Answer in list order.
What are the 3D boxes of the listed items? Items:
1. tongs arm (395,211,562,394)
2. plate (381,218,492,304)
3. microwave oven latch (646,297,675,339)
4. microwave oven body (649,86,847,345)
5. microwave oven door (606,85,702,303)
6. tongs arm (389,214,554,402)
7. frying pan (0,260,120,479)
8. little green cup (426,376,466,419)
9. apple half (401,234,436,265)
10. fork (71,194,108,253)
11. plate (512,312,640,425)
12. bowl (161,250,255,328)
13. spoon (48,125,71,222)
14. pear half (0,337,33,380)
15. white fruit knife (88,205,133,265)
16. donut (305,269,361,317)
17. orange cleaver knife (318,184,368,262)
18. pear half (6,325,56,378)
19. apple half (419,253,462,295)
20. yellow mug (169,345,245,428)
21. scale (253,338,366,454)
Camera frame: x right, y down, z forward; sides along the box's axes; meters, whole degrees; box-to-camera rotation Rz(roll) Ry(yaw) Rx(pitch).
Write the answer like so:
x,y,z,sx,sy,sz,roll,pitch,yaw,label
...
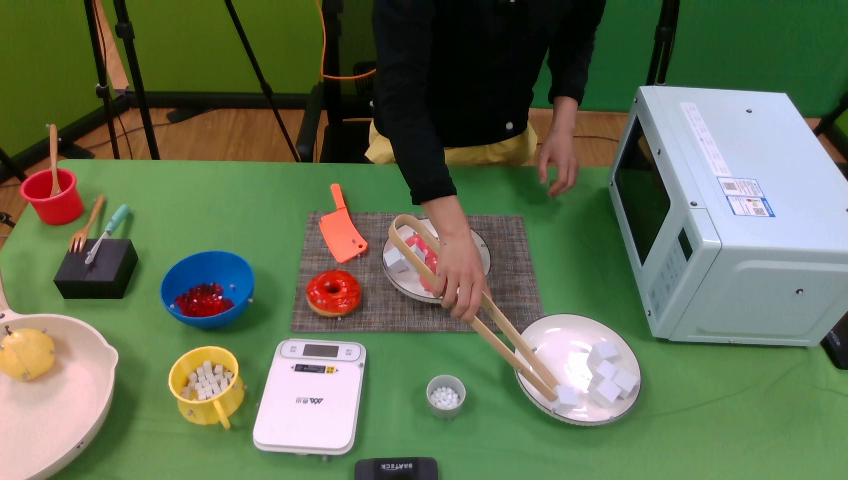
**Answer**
x,y,z,sx,sy,sz,roll,pitch,yaw,label
0.082,0.100,0.989,0.051,0.026,0.383,-28,74,-38,tongs arm
0.023,0.042,1.143,0.209,0.038,0.208,2,46,-2,plate
0.412,0.134,1.061,0.030,0.029,0.078,4,45,1,microwave oven latch
0.567,-0.053,1.118,0.326,0.261,0.439,2,45,-1,microwave oven body
0.422,-0.094,1.140,0.039,0.245,0.353,2,46,-1,microwave oven door
0.070,0.108,0.976,0.386,0.028,0.028,48,54,9,tongs arm
-0.647,0.164,0.936,0.307,0.103,0.485,-19,58,-22,frying pan
0.033,0.248,0.950,0.061,0.039,0.061,2,46,-2,little green cup
-0.004,0.014,1.159,0.081,0.033,0.081,5,44,-5,apple half
-0.634,-0.036,1.158,0.028,0.019,0.206,-8,31,-8,fork
0.246,0.213,0.999,0.208,0.039,0.206,2,46,-2,plate
-0.362,0.098,1.039,0.151,0.077,0.150,2,45,-2,bowl
-0.718,-0.131,1.188,0.041,0.021,0.193,-3,90,-7,spoon
-0.631,0.184,0.921,0.070,0.088,0.031,29,49,19,pear half
-0.584,-0.013,1.129,0.016,0.027,0.206,0,31,-5,white fruit knife
-0.160,0.094,1.075,0.099,0.048,0.098,4,46,-4,donut
-0.173,-0.037,1.218,0.077,0.012,0.210,-16,50,-12,orange cleaver knife
-0.608,0.158,0.935,0.076,0.110,0.056,31,51,20,pear half
0.035,0.056,1.110,0.074,0.053,0.081,37,55,25,apple half
-0.322,0.230,0.922,0.100,0.064,0.130,-24,53,-25,yellow mug
-0.175,0.236,0.951,0.149,0.032,0.199,4,45,0,scale
